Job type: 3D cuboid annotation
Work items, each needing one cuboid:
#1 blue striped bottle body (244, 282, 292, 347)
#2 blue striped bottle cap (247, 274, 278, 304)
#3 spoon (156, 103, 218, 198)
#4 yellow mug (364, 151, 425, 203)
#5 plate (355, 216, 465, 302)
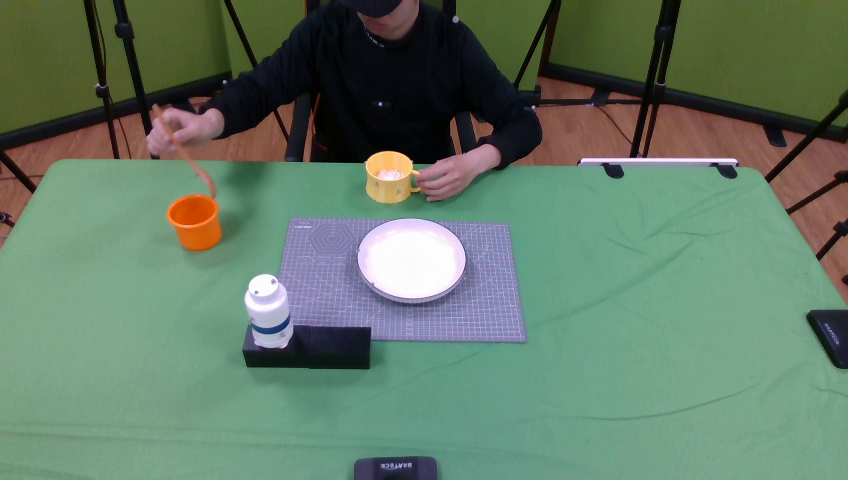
[{"bbox_3d":[-0.241,0.108,0.937,0.063,0.121,0.062,2,46,-2],"label":"blue striped bottle body"},{"bbox_3d":[-0.239,0.072,0.900,0.044,0.021,0.044,4,46,-4],"label":"blue striped bottle cap"},{"bbox_3d":[-0.420,-0.155,1.078,0.021,0.195,0.041,-29,34,-1],"label":"spoon"},{"bbox_3d":[-0.061,-0.133,1.290,0.131,0.064,0.099,9,46,3],"label":"yellow mug"},{"bbox_3d":[-0.027,0.039,1.144,0.208,0.039,0.206,2,46,-2],"label":"plate"}]
